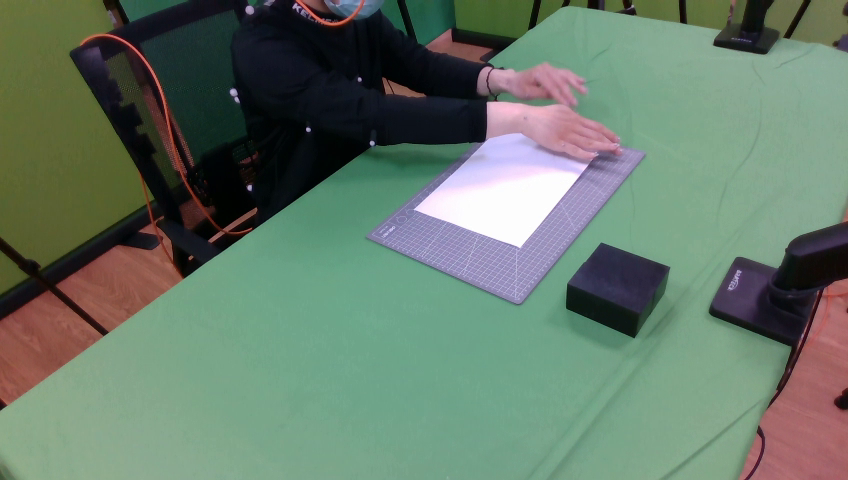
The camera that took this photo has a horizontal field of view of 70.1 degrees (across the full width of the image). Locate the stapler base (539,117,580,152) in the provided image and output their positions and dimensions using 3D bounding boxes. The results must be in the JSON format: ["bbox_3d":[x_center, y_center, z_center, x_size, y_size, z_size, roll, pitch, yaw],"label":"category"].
[{"bbox_3d":[0.264,-0.213,1.175,0.041,0.024,0.131,19,45,24],"label":"stapler base"}]

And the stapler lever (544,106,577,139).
[{"bbox_3d":[0.262,-0.234,1.159,0.026,0.040,0.118,19,45,25],"label":"stapler lever"}]
